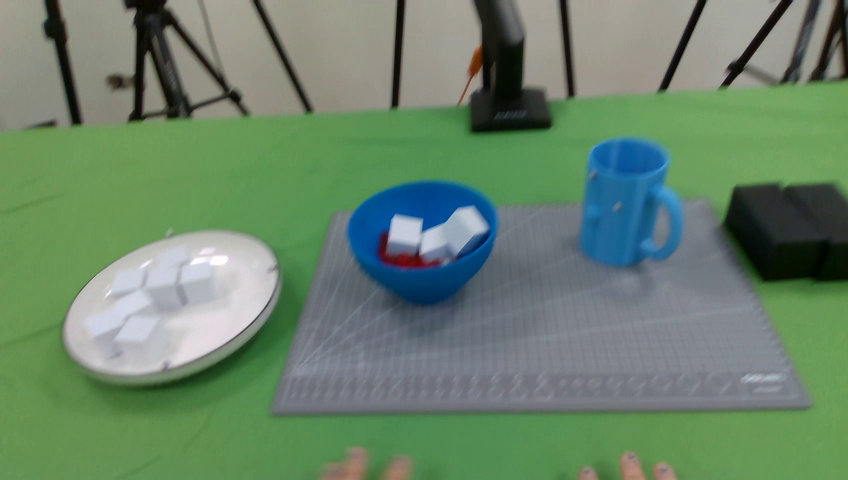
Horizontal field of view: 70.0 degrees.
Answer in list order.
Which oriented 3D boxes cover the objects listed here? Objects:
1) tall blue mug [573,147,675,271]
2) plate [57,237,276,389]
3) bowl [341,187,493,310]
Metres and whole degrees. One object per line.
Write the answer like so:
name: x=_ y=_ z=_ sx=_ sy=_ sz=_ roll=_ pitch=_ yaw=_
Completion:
tall blue mug: x=0.212 y=-0.027 z=0.628 sx=0.106 sy=0.109 sz=0.077 roll=18 pitch=42 yaw=27
plate: x=-0.252 y=0.073 z=0.614 sx=0.209 sy=0.038 sz=0.207 roll=-3 pitch=37 yaw=2
bowl: x=-0.004 y=0.019 z=0.619 sx=0.151 sy=0.077 sz=0.150 roll=-3 pitch=37 yaw=3
